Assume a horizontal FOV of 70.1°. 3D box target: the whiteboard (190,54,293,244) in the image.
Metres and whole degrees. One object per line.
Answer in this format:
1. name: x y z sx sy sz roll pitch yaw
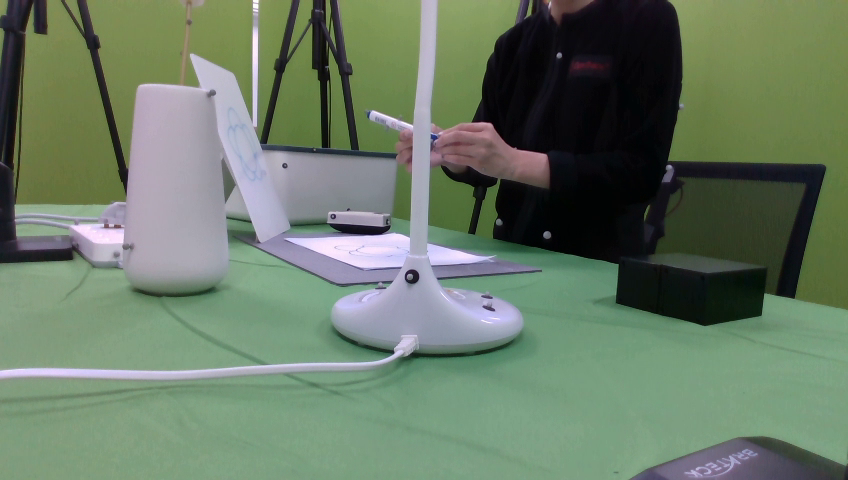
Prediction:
1. whiteboard: -0.362 -0.129 1.029 0.144 0.305 0.217 -18 7 3

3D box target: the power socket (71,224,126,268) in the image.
1. power socket: -0.409 0.004 0.793 0.072 0.032 0.225 -2 8 -37

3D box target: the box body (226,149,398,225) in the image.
1. box body: -0.265 -0.129 1.380 0.253 0.160 0.366 8 9 39

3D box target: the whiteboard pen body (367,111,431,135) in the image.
1. whiteboard pen body: -0.030 -0.179 0.966 0.140 0.017 0.017 23 15 20

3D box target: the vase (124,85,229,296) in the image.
1. vase: -0.244 -0.047 0.598 0.098 0.200 0.098 3 8 0

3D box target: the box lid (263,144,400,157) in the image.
1. box lid: -0.263 -0.203 1.369 0.262 0.015 0.373 9 10 39

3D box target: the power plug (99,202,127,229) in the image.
1. power plug: -0.415 -0.026 0.848 0.073 0.052 0.035 6 5 -28

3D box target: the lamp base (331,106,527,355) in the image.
1. lamp base: 0.006 -0.012 0.478 0.161 0.180 0.179 2 10 2

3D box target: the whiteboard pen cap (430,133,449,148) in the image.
1. whiteboard pen cap: 0.022 -0.156 0.946 0.033 0.018 0.018 20 13 20

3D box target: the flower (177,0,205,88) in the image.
1. flower: -0.243 -0.131 0.609 0.044 0.361 0.038 -5 -12 11

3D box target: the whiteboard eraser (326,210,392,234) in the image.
1. whiteboard eraser: -0.121 -0.033 1.131 0.112 0.042 0.056 4 8 13
